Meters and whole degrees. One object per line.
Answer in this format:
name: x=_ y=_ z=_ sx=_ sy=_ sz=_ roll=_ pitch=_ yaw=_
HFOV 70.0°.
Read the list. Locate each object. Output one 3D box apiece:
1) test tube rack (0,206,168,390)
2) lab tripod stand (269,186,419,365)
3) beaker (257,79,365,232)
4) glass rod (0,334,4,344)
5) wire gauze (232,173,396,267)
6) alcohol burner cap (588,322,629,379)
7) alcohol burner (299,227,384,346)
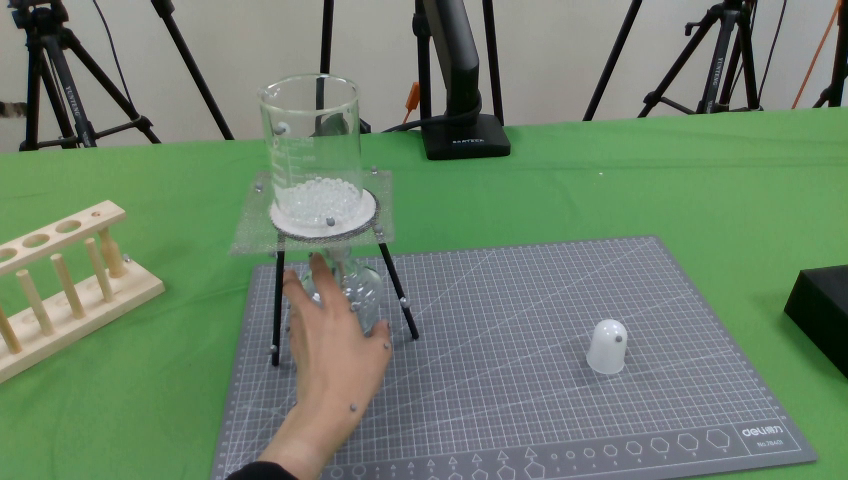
test tube rack: x=-0.364 y=0.065 z=0.536 sx=0.066 sy=0.086 sz=0.242 roll=25 pitch=42 yaw=32
lab tripod stand: x=-0.076 y=0.029 z=0.535 sx=0.148 sy=0.132 sz=0.147 roll=1 pitch=34 yaw=0
beaker: x=-0.086 y=-0.064 z=0.468 sx=0.083 sy=0.101 sz=0.074 roll=19 pitch=39 yaw=24
glass rod: x=-0.387 y=0.005 z=0.506 sx=0.008 sy=0.201 sz=0.008 roll=0 pitch=28 yaw=0
wire gauze: x=-0.085 y=-0.023 z=0.494 sx=0.121 sy=0.011 sz=0.124 roll=-3 pitch=37 yaw=-3
alcohol burner cap: x=0.160 y=0.092 z=0.520 sx=0.034 sy=0.048 sz=0.033 roll=0 pitch=36 yaw=1
alcohol burner: x=-0.075 y=0.037 z=0.542 sx=0.078 sy=0.120 sz=0.077 roll=1 pitch=37 yaw=0
